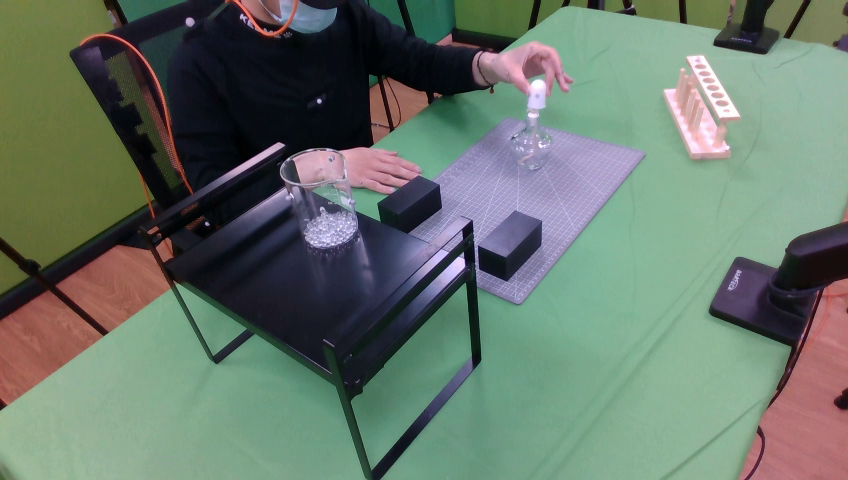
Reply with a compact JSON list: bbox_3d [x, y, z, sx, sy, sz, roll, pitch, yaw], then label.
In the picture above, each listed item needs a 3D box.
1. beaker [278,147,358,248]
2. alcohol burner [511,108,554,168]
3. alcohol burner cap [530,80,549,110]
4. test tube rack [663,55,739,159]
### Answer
[{"bbox_3d":[-0.117,-0.046,0.705,0.083,0.101,0.074,17,47,25],"label":"beaker"},{"bbox_3d":[0.195,-0.190,1.088,0.078,0.119,0.077,-3,42,3],"label":"alcohol burner"},{"bbox_3d":[0.197,-0.252,1.039,0.034,0.048,0.033,-9,32,6],"label":"alcohol burner cap"},{"bbox_3d":[0.518,-0.256,1.144,0.066,0.085,0.241,-1,41,8],"label":"test tube rack"}]
